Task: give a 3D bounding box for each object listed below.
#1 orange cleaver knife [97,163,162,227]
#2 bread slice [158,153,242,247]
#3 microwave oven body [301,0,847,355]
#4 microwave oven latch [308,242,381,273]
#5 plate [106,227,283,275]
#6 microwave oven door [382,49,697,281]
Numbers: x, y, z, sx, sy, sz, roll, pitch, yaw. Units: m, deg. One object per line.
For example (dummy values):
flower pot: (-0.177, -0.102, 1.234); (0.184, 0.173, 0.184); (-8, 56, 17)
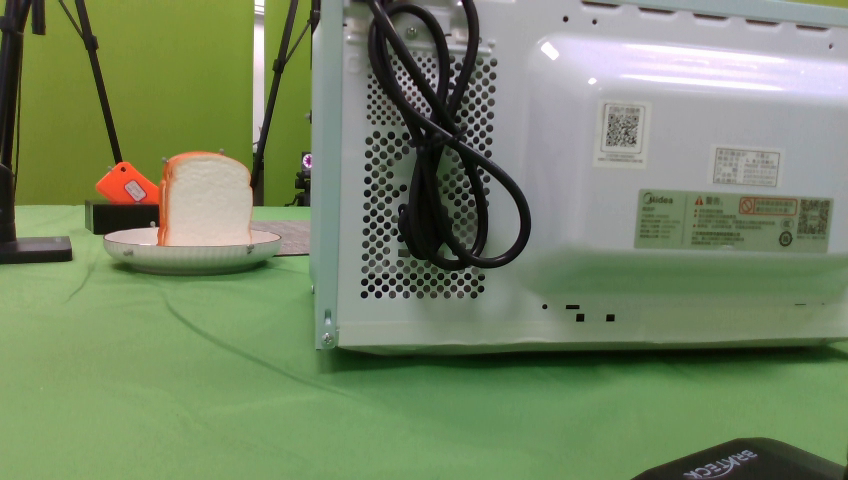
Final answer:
orange cleaver knife: (-0.472, -0.062, 1.087); (0.212, 0.077, 0.012); (33, -14, -36)
bread slice: (-0.287, -0.045, 0.788); (0.107, 0.134, 0.018); (2, 8, -35)
microwave oven body: (0.120, -0.053, 0.535); (0.443, 0.260, 0.325); (2, 7, -11)
microwave oven latch: (-0.086, 0.019, 0.656); (0.079, 0.029, 0.030); (2, 7, -11)
plate: (-0.288, 0.013, 0.772); (0.208, 0.039, 0.207); (2, 7, 0)
microwave oven door: (0.135, -0.077, 0.685); (0.357, 0.243, 0.039); (1, 8, -12)
